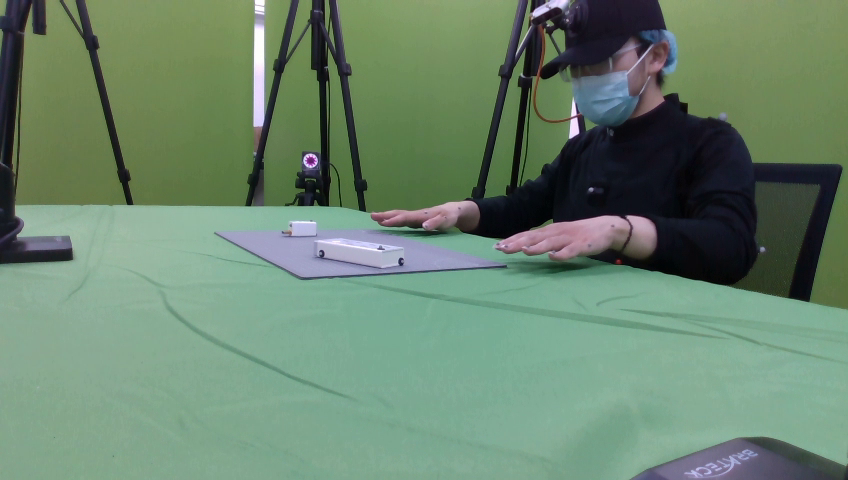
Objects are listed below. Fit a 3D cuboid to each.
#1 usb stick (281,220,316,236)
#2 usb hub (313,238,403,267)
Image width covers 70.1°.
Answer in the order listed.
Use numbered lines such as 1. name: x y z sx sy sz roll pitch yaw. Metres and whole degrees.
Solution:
1. usb stick: -0.220 -0.020 1.054 0.059 0.027 0.021 -5 12 -32
2. usb hub: -0.091 0.016 0.818 0.124 0.025 0.050 7 9 36
